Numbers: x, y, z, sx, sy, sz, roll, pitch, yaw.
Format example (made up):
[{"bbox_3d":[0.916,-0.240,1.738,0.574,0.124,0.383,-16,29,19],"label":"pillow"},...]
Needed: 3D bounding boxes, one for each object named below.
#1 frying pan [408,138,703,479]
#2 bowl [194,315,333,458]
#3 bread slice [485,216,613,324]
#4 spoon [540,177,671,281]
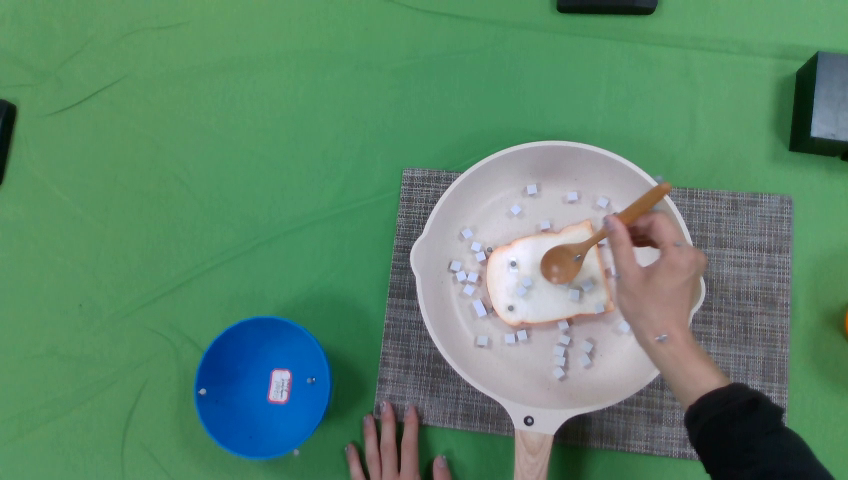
[{"bbox_3d":[0.120,0.134,0.637,0.306,0.103,0.485,8,73,9],"label":"frying pan"},{"bbox_3d":[-0.169,0.161,0.683,0.151,0.077,0.151,-1,81,6],"label":"bowl"},{"bbox_3d":[0.137,0.042,0.689,0.134,0.018,0.106,-16,79,3],"label":"bread slice"},{"bbox_3d":[0.173,-0.006,0.595,0.021,0.194,0.041,-29,79,-30],"label":"spoon"}]
